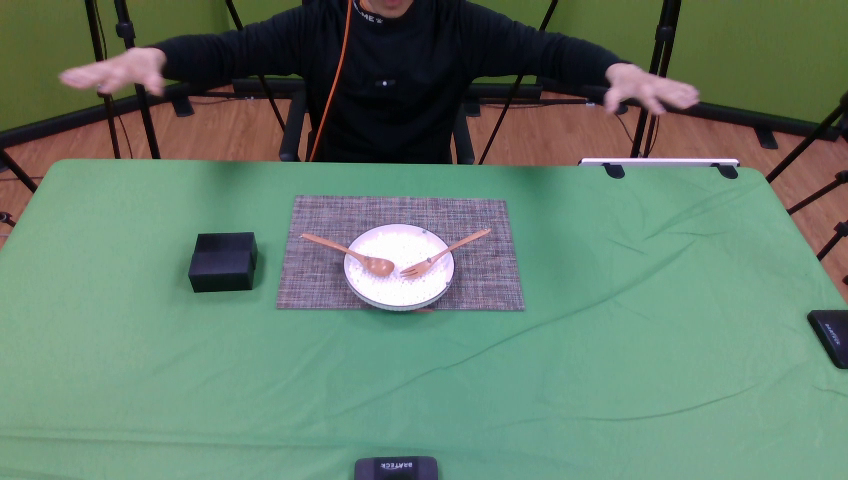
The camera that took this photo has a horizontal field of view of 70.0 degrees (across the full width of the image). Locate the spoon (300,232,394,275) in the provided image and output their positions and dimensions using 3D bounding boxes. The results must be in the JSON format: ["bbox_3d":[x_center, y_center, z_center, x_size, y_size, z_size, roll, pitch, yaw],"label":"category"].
[{"bbox_3d":[-0.145,0.020,1.126,0.193,0.022,0.041,24,53,8],"label":"spoon"}]

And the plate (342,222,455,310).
[{"bbox_3d":[-0.047,0.052,1.127,0.209,0.038,0.208,2,46,-2],"label":"plate"}]

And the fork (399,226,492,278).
[{"bbox_3d":[0.044,0.021,1.144,0.207,0.019,0.028,-29,53,-18],"label":"fork"}]
